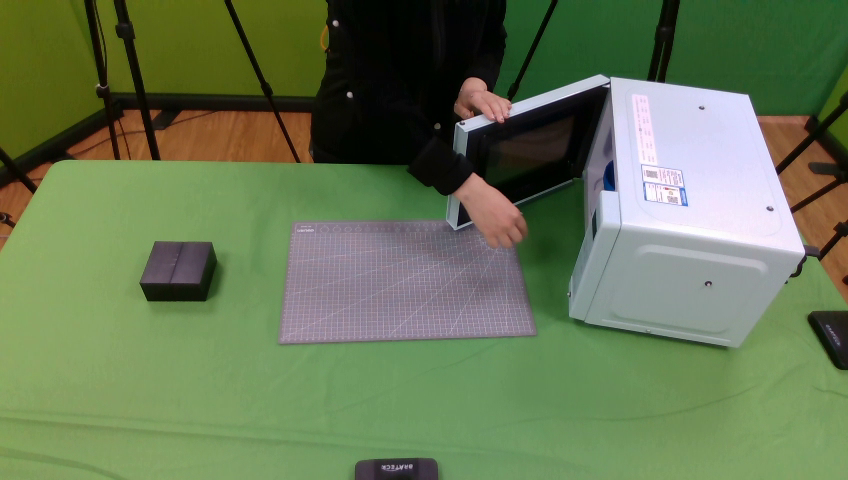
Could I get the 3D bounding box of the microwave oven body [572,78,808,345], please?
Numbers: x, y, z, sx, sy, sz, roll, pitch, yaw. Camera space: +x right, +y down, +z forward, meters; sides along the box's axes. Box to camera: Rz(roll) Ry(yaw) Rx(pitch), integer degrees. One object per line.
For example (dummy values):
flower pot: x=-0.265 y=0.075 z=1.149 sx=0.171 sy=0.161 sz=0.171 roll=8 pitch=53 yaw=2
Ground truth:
microwave oven body: x=0.456 y=-0.063 z=1.125 sx=0.326 sy=0.261 sz=0.439 roll=8 pitch=45 yaw=5

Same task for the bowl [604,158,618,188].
bowl: x=0.422 y=-0.094 z=1.195 sx=0.151 sy=0.077 sz=0.150 roll=4 pitch=48 yaw=-4

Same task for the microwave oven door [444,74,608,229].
microwave oven door: x=0.204 y=-0.178 z=1.209 sx=0.356 sy=0.245 sz=0.039 roll=-23 pitch=52 yaw=-24

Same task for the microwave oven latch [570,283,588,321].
microwave oven latch: x=0.276 y=0.105 z=1.082 sx=0.030 sy=0.029 sz=0.079 roll=10 pitch=45 yaw=7
